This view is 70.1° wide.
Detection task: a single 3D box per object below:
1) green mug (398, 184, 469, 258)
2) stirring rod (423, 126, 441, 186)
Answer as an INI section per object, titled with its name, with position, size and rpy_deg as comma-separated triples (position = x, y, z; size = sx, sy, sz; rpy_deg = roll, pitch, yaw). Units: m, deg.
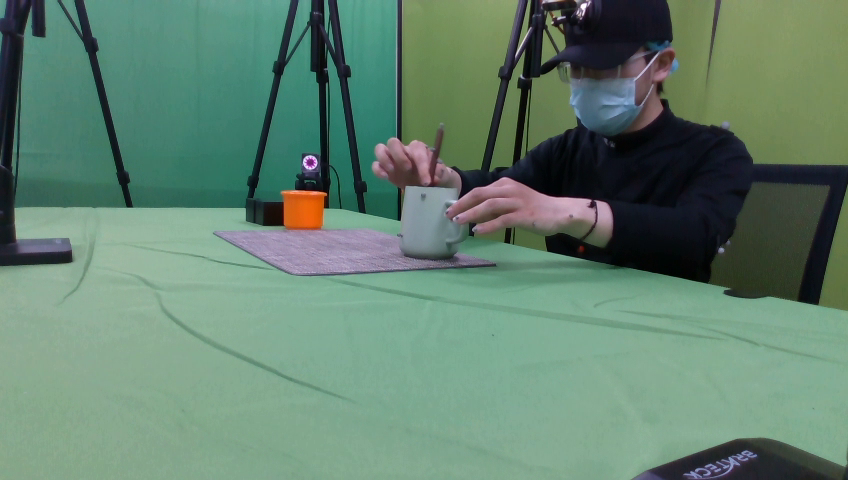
[green mug]
position = 0.020, -0.027, 0.890
size = 0.093, 0.105, 0.124
rpy_deg = -3, 9, -41
[stirring rod]
position = 0.003, -0.078, 0.883
size = 0.006, 0.176, 0.014
rpy_deg = 2, 16, -34
